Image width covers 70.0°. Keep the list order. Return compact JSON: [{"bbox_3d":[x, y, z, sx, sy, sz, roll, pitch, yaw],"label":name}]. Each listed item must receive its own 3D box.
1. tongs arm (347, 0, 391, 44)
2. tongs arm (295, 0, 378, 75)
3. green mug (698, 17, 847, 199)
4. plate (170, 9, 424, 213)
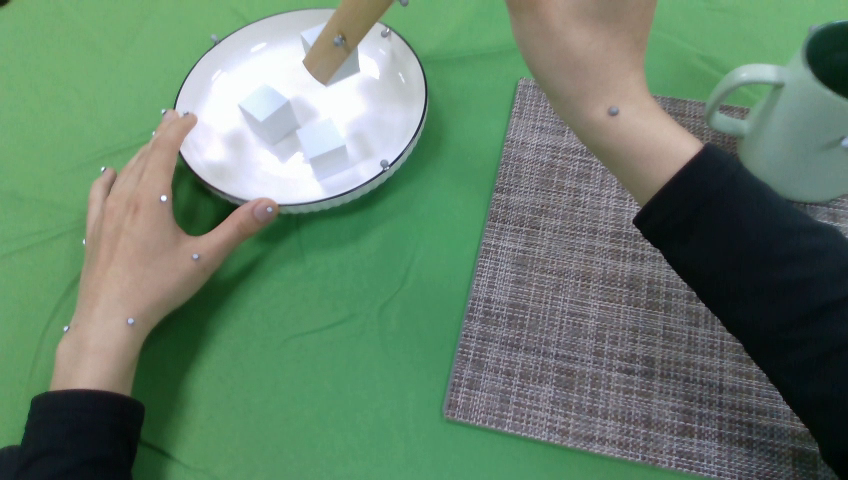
[{"bbox_3d":[0.021,-0.188,0.303,0.026,0.384,0.050,46,59,-14],"label":"tongs arm"},{"bbox_3d":[0.006,-0.168,0.291,0.028,0.386,0.028,49,61,-12],"label":"tongs arm"},{"bbox_3d":[0.264,-0.092,0.432,0.125,0.106,0.092,9,63,8],"label":"green mug"},{"bbox_3d":[-0.102,-0.107,0.506,0.209,0.038,0.207,-1,62,3],"label":"plate"}]
